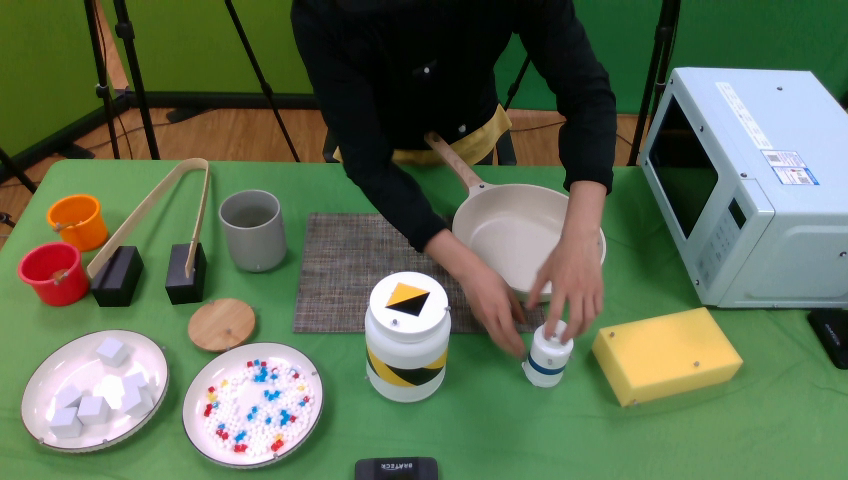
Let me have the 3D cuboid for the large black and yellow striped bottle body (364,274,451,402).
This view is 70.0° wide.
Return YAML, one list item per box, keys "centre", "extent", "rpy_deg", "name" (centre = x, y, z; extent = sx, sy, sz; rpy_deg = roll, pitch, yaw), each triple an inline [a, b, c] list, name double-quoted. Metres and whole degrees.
- centre: [-0.026, 0.151, 0.937]
  extent: [0.131, 0.185, 0.130]
  rpy_deg: [2, 47, -2]
  name: "large black and yellow striped bottle body"

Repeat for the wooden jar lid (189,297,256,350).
- centre: [-0.342, 0.145, 1.033]
  extent: [0.108, 0.021, 0.107]
  rpy_deg: [3, 45, -2]
  name: "wooden jar lid"

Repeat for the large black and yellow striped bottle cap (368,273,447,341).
- centre: [-0.023, 0.094, 0.875]
  extent: [0.115, 0.019, 0.114]
  rpy_deg: [2, 45, -2]
  name: "large black and yellow striped bottle cap"

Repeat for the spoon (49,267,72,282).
- centre: [-0.608, 0.058, 1.011]
  extent: [0.041, 0.022, 0.193]
  rpy_deg: [-32, 12, -27]
  name: "spoon"

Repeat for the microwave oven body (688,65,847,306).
- centre: [0.669, -0.111, 1.176]
  extent: [0.326, 0.261, 0.439]
  rpy_deg: [0, 46, -3]
  name: "microwave oven body"

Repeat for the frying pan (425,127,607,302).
- centre: [0.143, -0.070, 1.208]
  extent: [0.307, 0.103, 0.485]
  rpy_deg: [-22, 60, -24]
  name: "frying pan"

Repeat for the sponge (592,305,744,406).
- centre: [0.405, 0.190, 1.015]
  extent: [0.207, 0.061, 0.117]
  rpy_deg: [-10, 48, -13]
  name: "sponge"

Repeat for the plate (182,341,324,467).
- centre: [-0.257, 0.250, 0.927]
  extent: [0.209, 0.038, 0.208]
  rpy_deg: [3, 46, -2]
  name: "plate"

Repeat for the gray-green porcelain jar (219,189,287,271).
- centre: [-0.310, -0.014, 1.113]
  extent: [0.106, 0.127, 0.105]
  rpy_deg: [2, 46, -2]
  name: "gray-green porcelain jar"

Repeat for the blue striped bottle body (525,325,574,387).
- centre: [0.202, 0.179, 0.970]
  extent: [0.063, 0.121, 0.062]
  rpy_deg: [2, 46, -2]
  name: "blue striped bottle body"

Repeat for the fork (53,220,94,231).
- centre: [-0.627, -0.027, 1.086]
  extent: [0.028, 0.018, 0.207]
  rpy_deg: [-1, 2, -15]
  name: "fork"

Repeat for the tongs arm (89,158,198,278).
- centre: [-0.530, -0.057, 1.164]
  extent: [0.028, 0.028, 0.385]
  rpy_deg: [1, 36, 8]
  name: "tongs arm"

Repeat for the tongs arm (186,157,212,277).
- centre: [-0.445, -0.058, 1.168]
  extent: [0.051, 0.026, 0.382]
  rpy_deg: [-5, 37, -6]
  name: "tongs arm"

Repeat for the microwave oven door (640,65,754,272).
- centre: [0.522, -0.147, 1.192]
  extent: [0.039, 0.245, 0.353]
  rpy_deg: [0, 47, -3]
  name: "microwave oven door"

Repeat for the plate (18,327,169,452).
- centre: [-0.498, 0.229, 0.929]
  extent: [0.208, 0.039, 0.206]
  rpy_deg: [3, 46, -2]
  name: "plate"

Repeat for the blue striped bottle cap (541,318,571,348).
- centre: [0.204, 0.143, 0.932]
  extent: [0.044, 0.021, 0.044]
  rpy_deg: [0, 46, 0]
  name: "blue striped bottle cap"

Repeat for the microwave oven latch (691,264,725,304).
- centre: [0.521, 0.081, 1.116]
  extent: [0.030, 0.029, 0.078]
  rpy_deg: [0, 46, -3]
  name: "microwave oven latch"
